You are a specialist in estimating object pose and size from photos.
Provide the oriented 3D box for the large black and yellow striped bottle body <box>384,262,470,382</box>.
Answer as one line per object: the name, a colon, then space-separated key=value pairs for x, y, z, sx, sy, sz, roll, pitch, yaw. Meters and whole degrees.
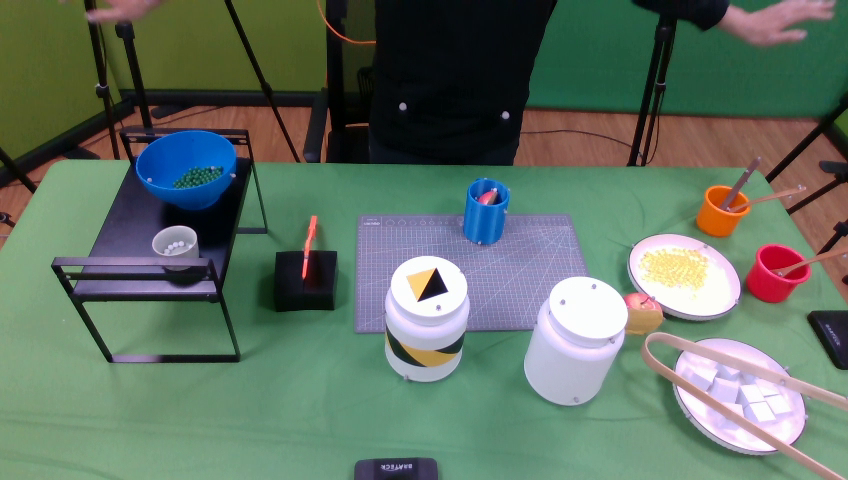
large black and yellow striped bottle body: x=0.002 y=0.127 z=0.962 sx=0.131 sy=0.185 sz=0.130 roll=2 pitch=48 yaw=-2

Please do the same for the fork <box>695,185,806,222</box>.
fork: x=0.658 y=-0.074 z=1.230 sx=0.207 sy=0.019 sz=0.028 roll=-23 pitch=36 yaw=37

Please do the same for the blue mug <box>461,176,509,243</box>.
blue mug: x=0.116 y=-0.070 z=1.211 sx=0.082 sy=0.106 sz=0.115 roll=-8 pitch=47 yaw=-12

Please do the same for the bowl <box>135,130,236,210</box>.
bowl: x=-0.375 y=-0.102 z=0.977 sx=0.151 sy=0.077 sz=0.150 roll=2 pitch=46 yaw=-2

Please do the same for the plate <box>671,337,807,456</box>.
plate: x=0.504 y=0.254 z=0.984 sx=0.208 sy=0.039 sz=0.206 roll=2 pitch=46 yaw=-2

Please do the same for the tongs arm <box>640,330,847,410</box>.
tongs arm: x=0.543 y=0.225 z=0.969 sx=0.384 sy=0.026 sz=0.050 roll=22 pitch=52 yaw=13

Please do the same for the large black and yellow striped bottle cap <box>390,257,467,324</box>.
large black and yellow striped bottle cap: x=0.007 y=0.072 z=0.898 sx=0.115 sy=0.019 sz=0.114 roll=2 pitch=47 yaw=-2

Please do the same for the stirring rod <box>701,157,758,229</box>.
stirring rod: x=0.634 y=-0.097 z=1.257 sx=0.014 sy=0.006 sz=0.176 roll=38 pitch=97 yaw=30

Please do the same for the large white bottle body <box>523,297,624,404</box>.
large white bottle body: x=0.235 y=0.159 z=0.952 sx=0.131 sy=0.185 sz=0.130 roll=2 pitch=47 yaw=-2

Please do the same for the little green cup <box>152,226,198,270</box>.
little green cup: x=-0.364 y=0.013 z=0.894 sx=0.061 sy=0.039 sz=0.061 roll=3 pitch=46 yaw=-3

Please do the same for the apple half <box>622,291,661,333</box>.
apple half: x=0.372 y=0.123 z=1.074 sx=0.081 sy=0.075 sz=0.053 roll=0 pitch=42 yaw=1

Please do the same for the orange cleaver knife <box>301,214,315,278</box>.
orange cleaver knife: x=-0.218 y=0.007 z=1.131 sx=0.012 sy=0.077 sz=0.210 roll=7 pitch=19 yaw=-9

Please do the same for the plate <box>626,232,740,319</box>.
plate: x=0.488 y=0.071 z=1.157 sx=0.209 sy=0.038 sz=0.208 roll=3 pitch=46 yaw=-3

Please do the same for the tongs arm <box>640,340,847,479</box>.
tongs arm: x=0.500 y=0.277 z=0.919 sx=0.386 sy=0.028 sz=0.028 roll=34 pitch=59 yaw=22

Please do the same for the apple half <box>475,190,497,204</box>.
apple half: x=0.111 y=-0.067 z=1.200 sx=0.032 sy=0.081 sz=0.081 roll=31 pitch=51 yaw=14

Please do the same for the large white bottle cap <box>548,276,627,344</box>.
large white bottle cap: x=0.240 y=0.100 z=0.890 sx=0.115 sy=0.018 sz=0.114 roll=3 pitch=47 yaw=-3

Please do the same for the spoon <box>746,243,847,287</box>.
spoon: x=0.702 y=0.043 z=1.126 sx=0.194 sy=0.022 sz=0.041 roll=-29 pitch=38 yaw=30
